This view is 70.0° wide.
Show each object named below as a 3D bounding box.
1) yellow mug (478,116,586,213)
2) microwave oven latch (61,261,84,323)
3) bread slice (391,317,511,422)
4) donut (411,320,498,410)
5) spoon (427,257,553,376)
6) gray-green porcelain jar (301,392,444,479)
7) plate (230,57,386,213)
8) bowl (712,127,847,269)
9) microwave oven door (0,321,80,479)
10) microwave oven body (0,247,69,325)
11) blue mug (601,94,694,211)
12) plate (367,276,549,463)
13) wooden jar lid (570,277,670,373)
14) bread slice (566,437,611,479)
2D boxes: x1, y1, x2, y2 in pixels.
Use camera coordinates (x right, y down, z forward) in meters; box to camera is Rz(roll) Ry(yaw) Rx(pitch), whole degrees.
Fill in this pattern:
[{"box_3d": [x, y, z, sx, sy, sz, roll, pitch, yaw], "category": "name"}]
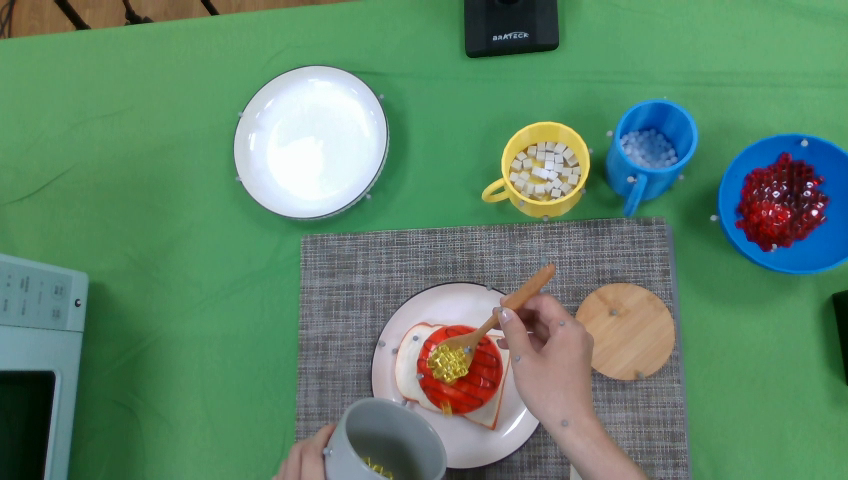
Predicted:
[{"box_3d": [0.125, -0.081, 0.717, 0.131, 0.064, 0.099, -24, 76, 6], "category": "yellow mug"}, {"box_3d": [-0.463, 0.067, 0.783, 0.030, 0.029, 0.079, 1, 80, 10], "category": "microwave oven latch"}, {"box_3d": [0.026, 0.145, 0.703, 0.131, 0.019, 0.104, 11, 81, 11], "category": "bread slice"}, {"box_3d": [0.034, 0.138, 0.673, 0.099, 0.048, 0.098, -1, 79, 7], "category": "donut"}, {"box_3d": [0.061, 0.078, 0.587, 0.041, 0.021, 0.194, 50, 131, 11], "category": "spoon"}, {"box_3d": [-0.056, 0.226, 0.569, 0.105, 0.106, 0.127, 35, 111, 14], "category": "gray-green porcelain jar"}, {"box_3d": [-0.147, -0.133, 0.787, 0.207, 0.039, 0.206, -2, 79, 9], "category": "plate"}, {"box_3d": [0.384, -0.038, 0.658, 0.151, 0.077, 0.150, -2, 79, 10], "category": "bowl"}, {"box_3d": [-0.484, 0.263, 0.645, 0.039, 0.245, 0.354, -2, 79, 10], "category": "microwave oven door"}, {"box_3d": [-0.626, 0.226, 0.681, 0.325, 0.261, 0.440, -1, 80, 9], "category": "microwave oven body"}, {"box_3d": [0.241, -0.089, 0.678, 0.082, 0.106, 0.116, 18, 83, 13], "category": "blue mug"}, {"box_3d": [0.039, 0.146, 0.699, 0.209, 0.038, 0.208, -2, 79, 9], "category": "plate"}, {"box_3d": [0.221, 0.096, 0.687, 0.108, 0.021, 0.108, -2, 80, 9], "category": "wooden jar lid"}, {"box_3d": [0.163, 0.260, 0.611, 0.018, 0.135, 0.106, 5, 78, 3], "category": "bread slice"}]
